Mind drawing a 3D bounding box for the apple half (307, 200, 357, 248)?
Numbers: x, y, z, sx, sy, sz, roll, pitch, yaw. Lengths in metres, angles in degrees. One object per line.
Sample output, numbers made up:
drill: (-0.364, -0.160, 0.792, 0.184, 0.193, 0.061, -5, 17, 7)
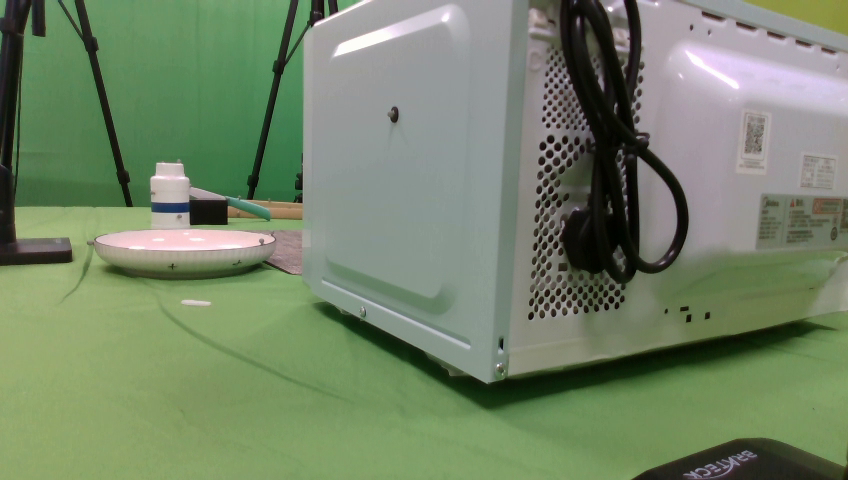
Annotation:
apple half: (-0.136, -0.024, 0.942, 0.053, 0.074, 0.081, 15, 10, 38)

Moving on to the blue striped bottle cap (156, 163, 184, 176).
blue striped bottle cap: (-0.438, -0.122, 1.045, 0.044, 0.020, 0.044, 5, 6, 0)

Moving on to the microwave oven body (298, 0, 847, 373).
microwave oven body: (0.151, -0.055, 0.543, 0.444, 0.260, 0.324, -1, 7, -33)

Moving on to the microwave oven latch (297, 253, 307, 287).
microwave oven latch: (-0.081, 0.027, 0.579, 0.079, 0.029, 0.030, 0, 7, -26)

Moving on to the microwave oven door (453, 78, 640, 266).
microwave oven door: (0.164, -0.107, 0.918, 0.039, 0.243, 0.354, -2, 8, -32)

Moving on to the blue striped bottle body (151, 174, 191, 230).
blue striped bottle body: (-0.439, -0.071, 1.052, 0.063, 0.120, 0.063, 2, 7, 0)

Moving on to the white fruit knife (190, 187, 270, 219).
white fruit knife: (-0.413, -0.081, 1.270, 0.208, 0.027, 0.016, 17, 13, -42)

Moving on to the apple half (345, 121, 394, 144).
apple half: (-0.085, -0.176, 0.981, 0.081, 0.033, 0.081, 6, 7, 0)

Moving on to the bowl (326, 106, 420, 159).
bowl: (-0.084, -0.172, 0.980, 0.151, 0.077, 0.151, 3, 8, 0)

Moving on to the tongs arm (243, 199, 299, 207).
tongs arm: (-0.309, -0.078, 1.487, 0.385, 0.026, 0.050, 3, 7, -2)

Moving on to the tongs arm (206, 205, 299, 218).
tongs arm: (-0.302, -0.065, 1.407, 0.389, 0.028, 0.028, 1, 4, -15)

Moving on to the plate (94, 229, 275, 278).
plate: (-0.291, 0.016, 0.749, 0.208, 0.039, 0.207, 2, 7, 0)
